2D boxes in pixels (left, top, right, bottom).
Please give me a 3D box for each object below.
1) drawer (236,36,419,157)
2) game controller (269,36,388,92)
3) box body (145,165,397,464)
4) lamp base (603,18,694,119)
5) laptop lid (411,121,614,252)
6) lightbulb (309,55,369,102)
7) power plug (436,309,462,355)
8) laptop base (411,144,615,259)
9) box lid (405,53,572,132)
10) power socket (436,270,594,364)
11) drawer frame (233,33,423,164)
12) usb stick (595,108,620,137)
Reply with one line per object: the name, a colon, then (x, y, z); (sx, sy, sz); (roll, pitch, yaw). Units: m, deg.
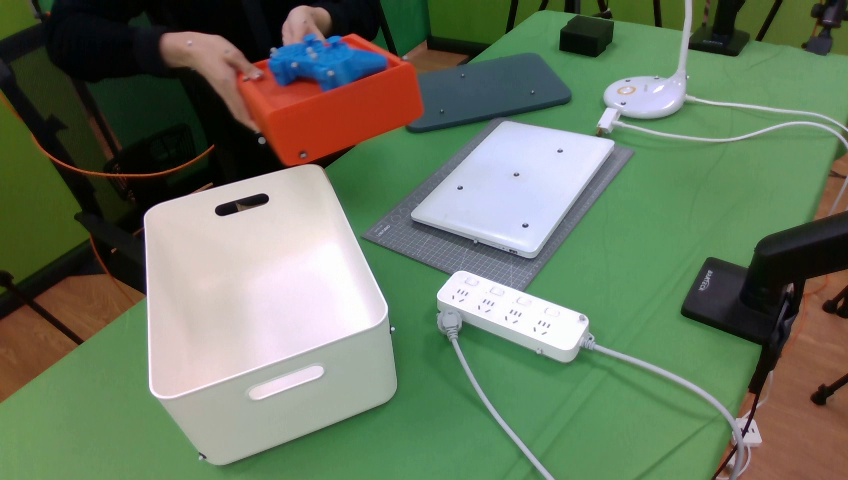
drawer: (-0.137, -0.206, 0.841); (0.195, 0.073, 0.210); (-22, 36, -17)
game controller: (-0.131, -0.234, 0.790); (0.154, 0.052, 0.097); (19, 49, 38)
box body: (-0.205, 0.080, 0.802); (0.255, 0.161, 0.361); (-18, 41, -13)
lamp base: (0.460, -0.355, 1.205); (0.179, 0.181, 0.160); (2, 41, 7)
laptop lid: (0.164, -0.112, 1.068); (0.240, 0.013, 0.357); (19, 46, 30)
lightbulb: (-0.123, -0.232, 0.888); (0.107, 0.060, 0.060); (33, 53, 24)
power plug: (0.032, 0.126, 0.809); (0.035, 0.053, 0.072); (3, 59, 7)
laptop base: (0.167, -0.102, 1.074); (0.234, 0.023, 0.355); (17, 46, 30)
box lid: (0.122, -0.339, 1.366); (0.372, 0.015, 0.261); (-12, 40, -5)
power socket: (0.118, 0.102, 0.830); (0.225, 0.033, 0.072); (20, 48, 28)
drawer frame: (-0.137, -0.205, 0.840); (0.202, 0.083, 0.211); (-24, 37, -16)
usb stick: (0.355, -0.226, 1.175); (0.027, 0.022, 0.059); (29, 85, 41)
